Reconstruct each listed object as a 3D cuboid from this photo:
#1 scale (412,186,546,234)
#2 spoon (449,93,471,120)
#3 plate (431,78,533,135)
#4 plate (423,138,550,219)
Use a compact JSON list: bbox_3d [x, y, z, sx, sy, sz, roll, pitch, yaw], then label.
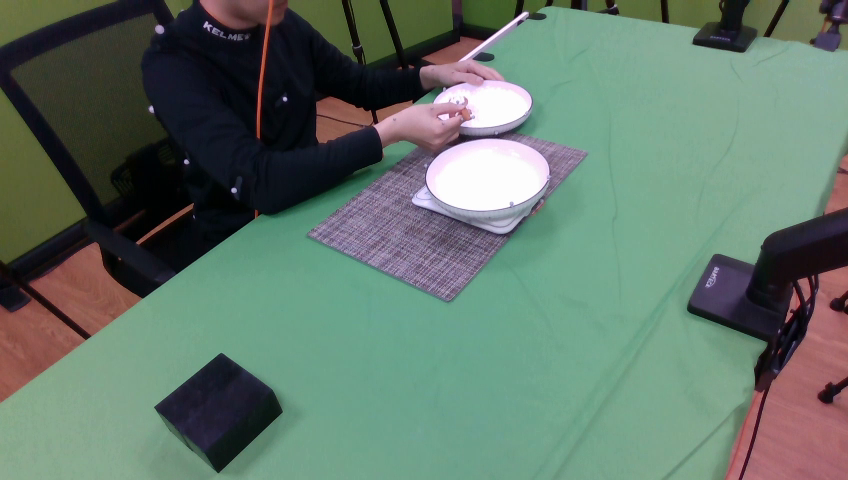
[{"bbox_3d":[0.093,-0.083,1.038,0.199,0.032,0.149,22,48,30],"label":"scale"},{"bbox_3d":[0.073,-0.259,1.165,0.041,0.022,0.193,-7,22,1],"label":"spoon"},{"bbox_3d":[0.120,-0.271,1.249,0.209,0.038,0.208,-4,40,4],"label":"plate"},{"bbox_3d":[0.103,-0.099,1.005,0.207,0.039,0.206,-4,41,4],"label":"plate"}]
